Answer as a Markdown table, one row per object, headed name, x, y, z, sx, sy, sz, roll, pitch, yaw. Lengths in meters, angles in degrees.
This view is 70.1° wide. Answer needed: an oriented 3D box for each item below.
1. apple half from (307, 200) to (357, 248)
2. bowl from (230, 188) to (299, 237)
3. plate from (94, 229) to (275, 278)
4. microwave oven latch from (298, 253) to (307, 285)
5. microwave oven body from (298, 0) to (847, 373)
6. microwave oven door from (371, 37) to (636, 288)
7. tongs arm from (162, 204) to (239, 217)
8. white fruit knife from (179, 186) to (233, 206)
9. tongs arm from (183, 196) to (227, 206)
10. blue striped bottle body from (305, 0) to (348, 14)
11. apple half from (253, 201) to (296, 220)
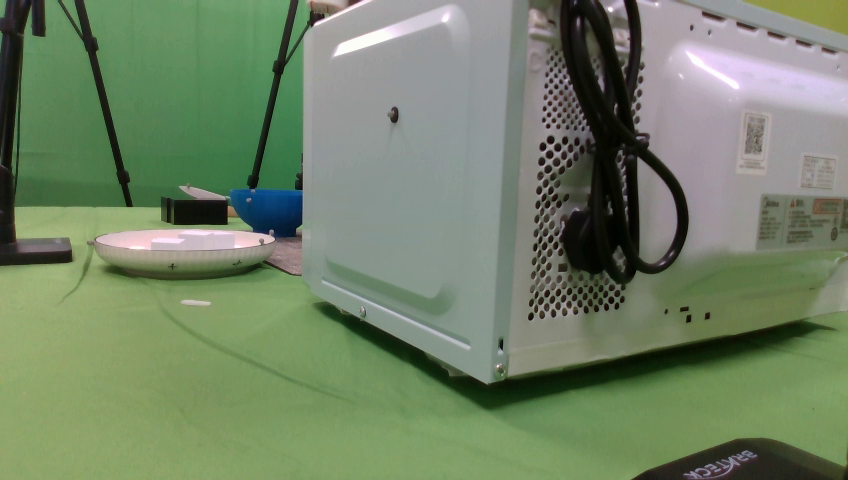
| name | x | y | z | sx | sy | sz | roll | pitch | yaw |
| --- | --- | --- | --- | --- | --- | --- | --- | --- | --- |
| apple half | -0.135 | -0.024 | 0.942 | 0.053 | 0.074 | 0.081 | 13 | 8 | 38 |
| bowl | -0.264 | -0.048 | 1.066 | 0.151 | 0.077 | 0.151 | 3 | 8 | 0 |
| plate | -0.291 | 0.016 | 0.750 | 0.208 | 0.039 | 0.207 | 2 | 7 | 0 |
| microwave oven latch | -0.081 | 0.027 | 0.582 | 0.079 | 0.029 | 0.030 | -2 | 8 | -33 |
| microwave oven body | 0.151 | -0.055 | 0.542 | 0.444 | 0.260 | 0.324 | -2 | 7 | -33 |
| microwave oven door | 0.109 | -0.080 | 0.686 | 0.358 | 0.243 | 0.039 | -2 | 9 | -33 |
| tongs arm | -0.396 | -0.066 | 1.399 | 0.389 | 0.028 | 0.028 | 1 | 6 | -15 |
| white fruit knife | -0.413 | -0.081 | 1.270 | 0.208 | 0.027 | 0.016 | 18 | 13 | -41 |
| tongs arm | -0.404 | -0.081 | 1.479 | 0.385 | 0.026 | 0.050 | 4 | 9 | -2 |
| blue striped bottle body | -0.140 | -0.408 | 0.914 | 0.063 | 0.120 | 0.063 | 9 | 6 | -1 |
| apple half | -0.264 | -0.053 | 1.067 | 0.081 | 0.033 | 0.081 | 1 | 8 | 0 |
